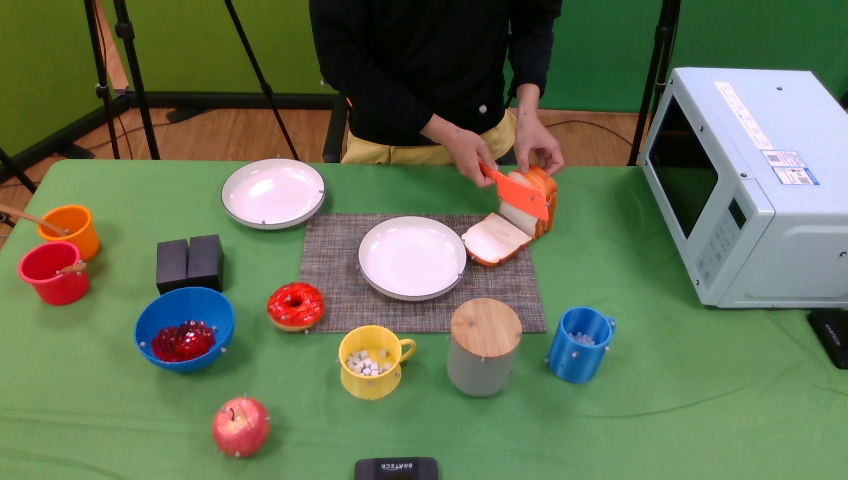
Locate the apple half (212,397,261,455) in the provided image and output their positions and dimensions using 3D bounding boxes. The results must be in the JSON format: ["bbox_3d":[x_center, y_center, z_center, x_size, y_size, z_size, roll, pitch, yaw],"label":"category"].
[{"bbox_3d":[-0.276,0.276,0.877,0.053,0.075,0.080,-29,58,-21],"label":"apple half"}]

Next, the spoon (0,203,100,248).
[{"bbox_3d":[-0.683,-0.031,1.088,0.195,0.021,0.041,33,33,-38],"label":"spoon"}]

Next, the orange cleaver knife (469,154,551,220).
[{"bbox_3d":[0.168,-0.107,1.198,0.012,0.077,0.210,-34,51,-27],"label":"orange cleaver knife"}]

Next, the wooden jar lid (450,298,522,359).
[{"bbox_3d":[0.093,0.135,0.914,0.108,0.021,0.107,2,48,-3],"label":"wooden jar lid"}]

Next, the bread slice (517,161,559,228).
[{"bbox_3d":[0.228,-0.094,1.224,0.018,0.135,0.106,-34,59,-25],"label":"bread slice"}]

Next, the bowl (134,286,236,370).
[{"bbox_3d":[-0.377,0.155,0.981,0.151,0.077,0.150,2,46,-2],"label":"bowl"}]

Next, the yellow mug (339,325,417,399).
[{"bbox_3d":[-0.072,0.191,0.978,0.131,0.064,0.099,-17,50,-20],"label":"yellow mug"}]

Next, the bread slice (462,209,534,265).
[{"bbox_3d":[0.137,-0.003,1.196,0.104,0.019,0.131,38,52,26],"label":"bread slice"}]

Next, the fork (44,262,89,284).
[{"bbox_3d":[-0.599,0.053,1.014,0.207,0.019,0.028,-14,30,45],"label":"fork"}]

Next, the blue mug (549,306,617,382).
[{"bbox_3d":[0.269,0.166,0.998,0.116,0.106,0.082,-19,51,-21],"label":"blue mug"}]

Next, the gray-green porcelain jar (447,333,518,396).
[{"bbox_3d":[0.091,0.178,0.960,0.106,0.127,0.105,2,46,-2],"label":"gray-green porcelain jar"}]

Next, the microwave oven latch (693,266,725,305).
[{"bbox_3d":[0.523,0.082,1.115,0.030,0.029,0.078,2,46,-1],"label":"microwave oven latch"}]

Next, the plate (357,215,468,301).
[{"bbox_3d":[-0.022,0.037,1.141,0.208,0.039,0.206,2,46,-2],"label":"plate"}]

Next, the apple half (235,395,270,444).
[{"bbox_3d":[-0.245,0.259,0.893,0.033,0.082,0.081,-29,55,-22],"label":"apple half"}]

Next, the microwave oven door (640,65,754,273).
[{"bbox_3d":[0.523,-0.147,1.193,0.039,0.245,0.353,0,47,-3],"label":"microwave oven door"}]

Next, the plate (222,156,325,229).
[{"bbox_3d":[-0.308,-0.095,1.251,0.209,0.038,0.208,2,46,-2],"label":"plate"}]

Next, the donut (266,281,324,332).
[{"bbox_3d":[-0.222,0.114,1.049,0.099,0.048,0.098,2,46,-2],"label":"donut"}]

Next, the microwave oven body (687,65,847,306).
[{"bbox_3d":[0.669,-0.111,1.176,0.326,0.261,0.439,0,46,-3],"label":"microwave oven body"}]
